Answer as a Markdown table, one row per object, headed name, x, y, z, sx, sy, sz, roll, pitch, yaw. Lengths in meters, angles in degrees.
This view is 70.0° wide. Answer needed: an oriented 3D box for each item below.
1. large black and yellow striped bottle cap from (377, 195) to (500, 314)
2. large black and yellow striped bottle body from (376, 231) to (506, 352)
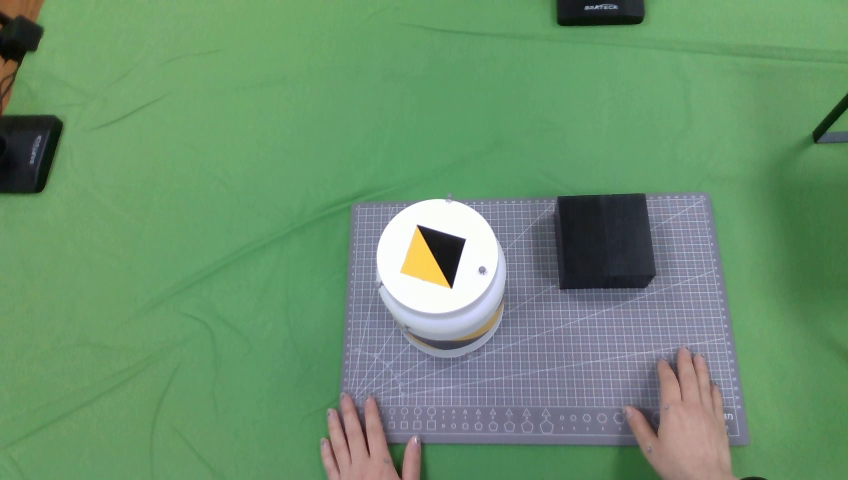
| name | x | y | z | sx | sy | sz | roll | pitch | yaw |
| --- | --- | --- | --- | --- | --- | --- | --- | --- | --- |
| large black and yellow striped bottle cap | 0.014 | 0.012 | 0.566 | 0.115 | 0.019 | 0.114 | -2 | 70 | 6 |
| large black and yellow striped bottle body | 0.021 | 0.040 | 0.645 | 0.131 | 0.185 | 0.130 | -2 | 70 | 5 |
